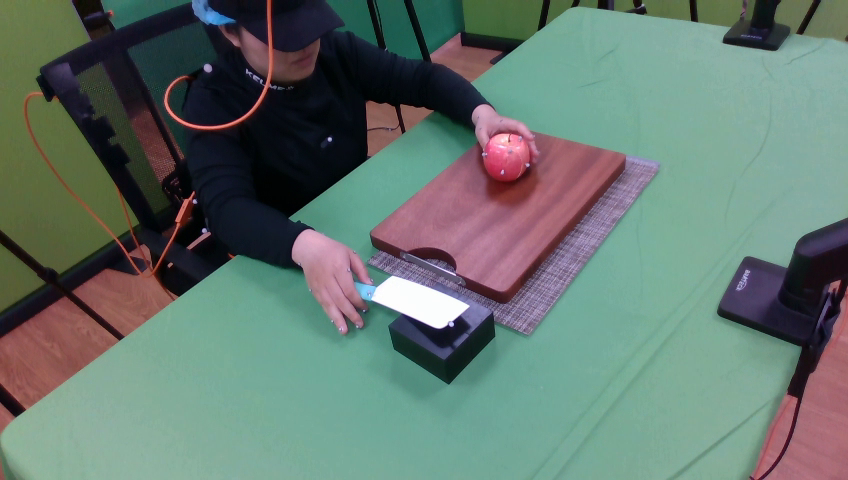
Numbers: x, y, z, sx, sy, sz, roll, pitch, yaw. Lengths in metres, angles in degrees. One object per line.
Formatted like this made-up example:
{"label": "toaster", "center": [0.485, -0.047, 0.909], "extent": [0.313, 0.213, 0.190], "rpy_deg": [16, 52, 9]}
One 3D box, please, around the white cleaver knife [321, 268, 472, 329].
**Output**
{"label": "white cleaver knife", "center": [-0.050, 0.077, 0.868], "extent": [0.284, 0.021, 0.066], "rpy_deg": [16, 35, 43]}

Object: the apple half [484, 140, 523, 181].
{"label": "apple half", "center": [0.129, -0.128, 1.028], "extent": [0.080, 0.081, 0.033], "rpy_deg": [22, 46, 32]}

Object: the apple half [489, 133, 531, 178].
{"label": "apple half", "center": [0.153, -0.149, 1.050], "extent": [0.080, 0.075, 0.053], "rpy_deg": [21, 45, 34]}
